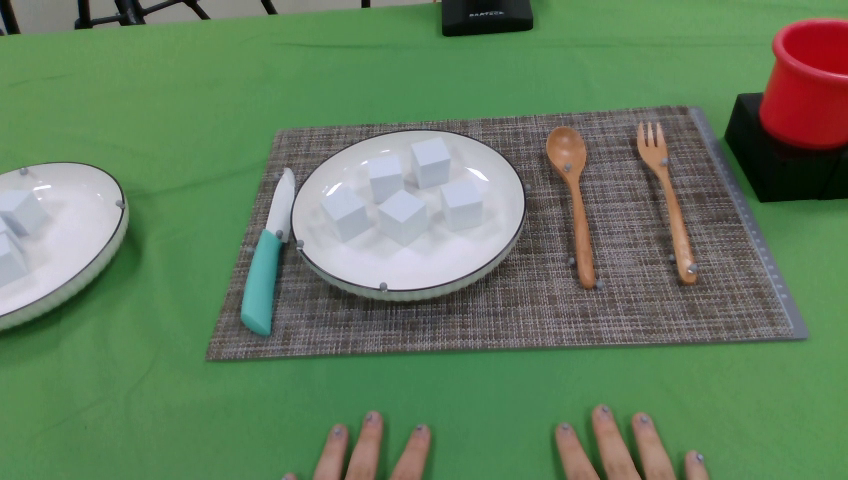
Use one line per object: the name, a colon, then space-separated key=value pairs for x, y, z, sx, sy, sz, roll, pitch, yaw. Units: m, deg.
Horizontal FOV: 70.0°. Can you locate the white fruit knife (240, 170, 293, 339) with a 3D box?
white fruit knife: x=-0.139 y=0.002 z=0.552 sx=0.027 sy=0.016 sz=0.205 roll=16 pitch=42 yaw=-18

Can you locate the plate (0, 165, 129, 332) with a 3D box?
plate: x=-0.375 y=0.010 z=0.558 sx=0.209 sy=0.038 sz=0.207 roll=-3 pitch=46 yaw=3

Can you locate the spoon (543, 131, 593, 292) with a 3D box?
spoon: x=0.135 y=-0.033 z=0.550 sx=0.042 sy=0.022 sz=0.192 roll=11 pitch=46 yaw=-8

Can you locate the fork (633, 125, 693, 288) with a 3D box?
fork: x=0.217 y=-0.039 z=0.549 sx=0.028 sy=0.019 sz=0.205 roll=5 pitch=45 yaw=2

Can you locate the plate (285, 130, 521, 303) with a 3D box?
plate: x=-0.018 y=-0.022 z=0.545 sx=0.207 sy=0.039 sz=0.205 roll=-3 pitch=47 yaw=3
